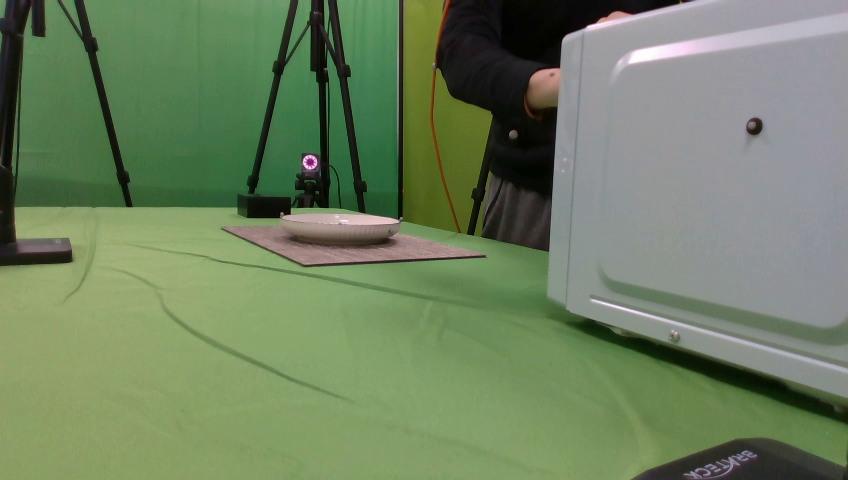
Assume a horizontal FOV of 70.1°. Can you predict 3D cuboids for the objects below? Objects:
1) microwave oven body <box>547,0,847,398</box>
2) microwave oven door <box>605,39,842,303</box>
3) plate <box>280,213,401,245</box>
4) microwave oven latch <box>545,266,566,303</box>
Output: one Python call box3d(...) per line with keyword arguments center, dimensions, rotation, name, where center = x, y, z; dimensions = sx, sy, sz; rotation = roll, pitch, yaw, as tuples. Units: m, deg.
box3d(center=(0.378, -0.045, 0.509), dimensions=(0.444, 0.260, 0.324), rotation=(-2, 8, -31), name="microwave oven body")
box3d(center=(0.341, -0.070, 0.653), dimensions=(0.358, 0.243, 0.039), rotation=(-3, 9, -31), name="microwave oven door")
box3d(center=(-0.145, -0.021, 1.057), dimensions=(0.209, 0.038, 0.209), rotation=(2, 7, 0), name="plate")
box3d(center=(0.148, 0.039, 0.555), dimensions=(0.079, 0.029, 0.030), rotation=(-2, 7, -28), name="microwave oven latch")
